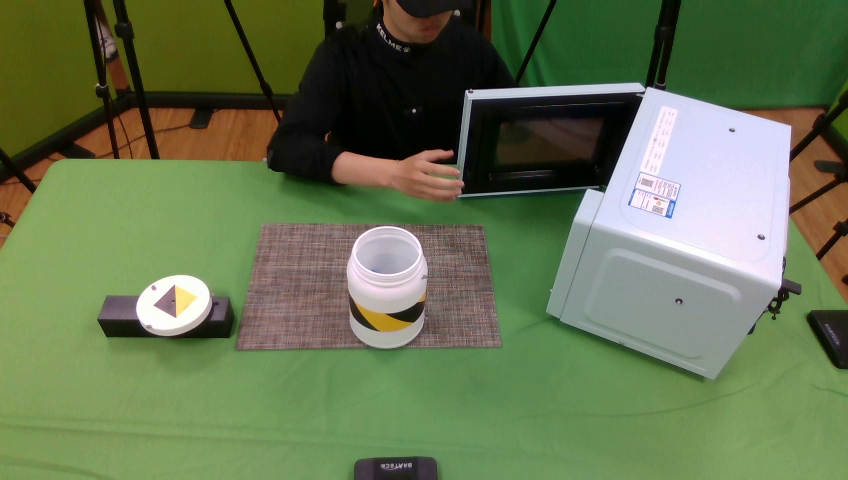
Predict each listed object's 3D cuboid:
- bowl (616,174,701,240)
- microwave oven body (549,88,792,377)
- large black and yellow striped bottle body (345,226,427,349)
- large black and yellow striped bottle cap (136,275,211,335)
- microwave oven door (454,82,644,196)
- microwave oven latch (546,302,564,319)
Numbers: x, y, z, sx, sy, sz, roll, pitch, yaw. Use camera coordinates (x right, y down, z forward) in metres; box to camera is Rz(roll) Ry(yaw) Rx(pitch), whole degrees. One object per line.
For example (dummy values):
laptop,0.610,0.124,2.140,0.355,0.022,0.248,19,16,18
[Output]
bowl,0.435,-0.053,1.142,0.151,0.077,0.150,-4,37,3
microwave oven body,0.456,-0.028,1.088,0.325,0.261,0.440,20,47,16
large black and yellow striped bottle body,-0.062,0.078,0.998,0.131,0.185,0.130,2,46,-2
large black and yellow striped bottle cap,-0.412,0.105,0.998,0.115,0.019,0.114,3,47,-3
microwave oven door,0.247,-0.202,1.233,0.356,0.245,0.039,-5,47,-8
microwave oven latch,0.242,0.102,1.081,0.030,0.029,0.079,21,48,17
